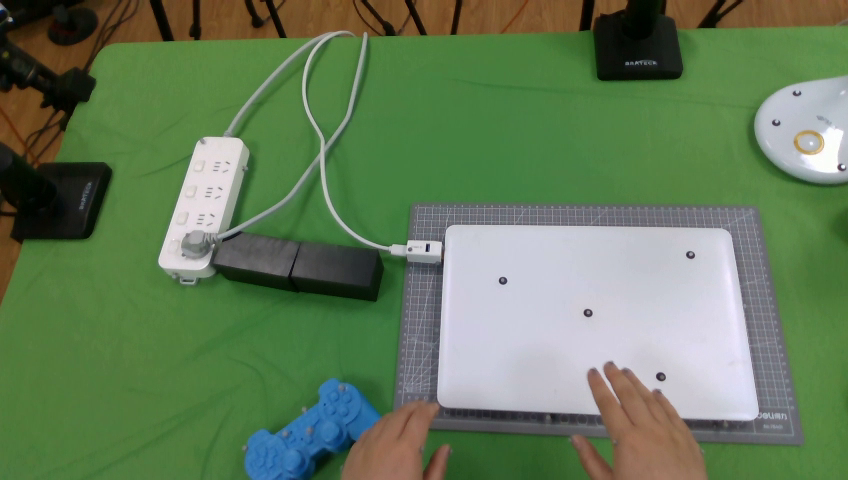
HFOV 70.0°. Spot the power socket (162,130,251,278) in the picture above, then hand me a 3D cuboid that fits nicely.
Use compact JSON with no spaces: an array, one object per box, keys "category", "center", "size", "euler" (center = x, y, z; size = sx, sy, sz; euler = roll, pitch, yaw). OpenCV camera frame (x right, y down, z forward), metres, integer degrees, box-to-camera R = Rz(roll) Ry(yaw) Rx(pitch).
[{"category":"power socket","center":[-0.297,-0.057,0.836],"size":[0.072,0.033,0.225],"euler":[4,64,6]}]

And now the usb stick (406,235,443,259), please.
[{"category":"usb stick","center":[0.008,0.009,0.768],"size":[0.059,0.027,0.021],"euler":[6,61,3]}]

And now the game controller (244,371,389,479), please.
[{"category":"game controller","center":[-0.126,0.218,0.679],"size":[0.155,0.052,0.096],"euler":[-33,63,-11]}]

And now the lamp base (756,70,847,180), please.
[{"category":"lamp base","center":[0.528,-0.193,0.742],"size":[0.159,0.182,0.179],"euler":[33,69,19]}]

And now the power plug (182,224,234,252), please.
[{"category":"power plug","center":[-0.278,0.003,0.783],"size":[0.072,0.053,0.035],"euler":[14,66,10]}]

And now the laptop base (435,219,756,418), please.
[{"category":"laptop base","center":[0.195,0.087,0.727],"size":[0.354,0.023,0.234],"euler":[1,67,6]}]

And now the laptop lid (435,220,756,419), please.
[{"category":"laptop lid","center":[0.193,0.084,0.716],"size":[0.356,0.013,0.240],"euler":[3,67,7]}]
